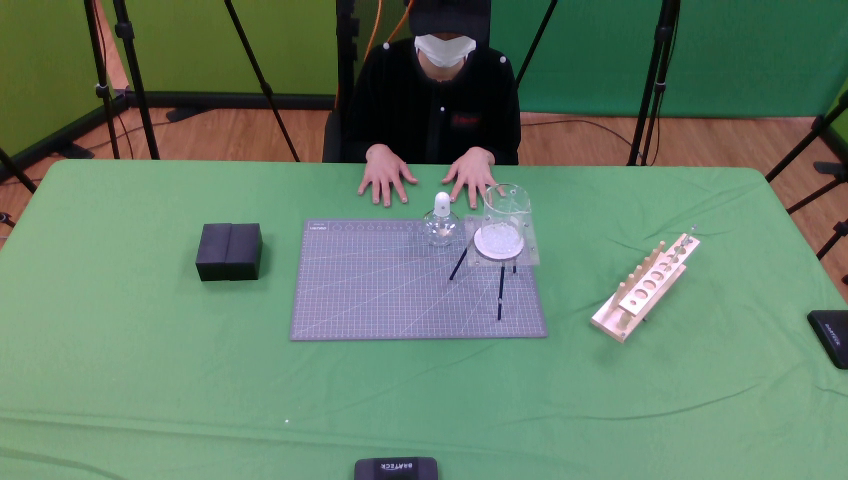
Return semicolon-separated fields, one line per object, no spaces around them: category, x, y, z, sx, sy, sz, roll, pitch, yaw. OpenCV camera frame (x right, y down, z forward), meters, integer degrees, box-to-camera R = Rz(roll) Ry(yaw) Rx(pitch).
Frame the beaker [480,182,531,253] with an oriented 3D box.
beaker;0.133;-0.033;0.998;0.083;0.101;0.074;26;51;22

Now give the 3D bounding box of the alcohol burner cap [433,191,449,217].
alcohol burner cap;0.033;-0.070;1.150;0.034;0.048;0.033;0;45;0

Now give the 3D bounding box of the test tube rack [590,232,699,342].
test tube rack;0.407;0.074;1.112;0.066;0.085;0.242;35;53;26

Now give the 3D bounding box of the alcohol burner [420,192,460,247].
alcohol burner;0.032;-0.045;1.176;0.078;0.120;0.077;2;44;-1

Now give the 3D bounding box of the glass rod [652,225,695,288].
glass rod;0.432;0.037;1.057;0.008;0.200;0.008;1;54;-1

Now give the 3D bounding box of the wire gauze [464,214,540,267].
wire gauze;0.131;-0.001;1.035;0.121;0.011;0.124;1;44;-2

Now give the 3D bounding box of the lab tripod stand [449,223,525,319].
lab tripod stand;0.120;0.046;1.080;0.148;0.132;0.147;1;47;-1
